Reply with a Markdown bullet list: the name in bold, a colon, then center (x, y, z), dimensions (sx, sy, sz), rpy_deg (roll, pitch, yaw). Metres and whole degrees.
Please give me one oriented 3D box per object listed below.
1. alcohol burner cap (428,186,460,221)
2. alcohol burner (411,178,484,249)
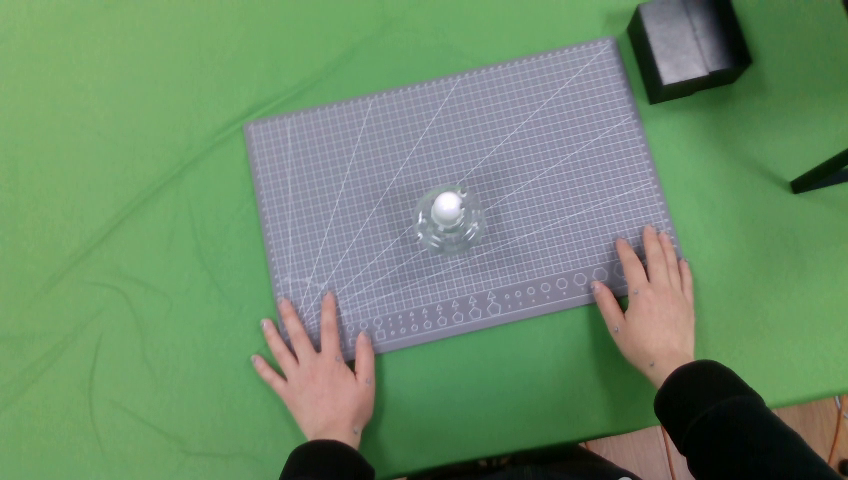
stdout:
- **alcohol burner cap**: center (0.021, -0.038, 0.592), dimensions (0.034, 0.048, 0.034), rpy_deg (0, 83, -2)
- **alcohol burner**: center (0.023, -0.031, 0.628), dimensions (0.078, 0.119, 0.077), rpy_deg (-1, 81, 4)
